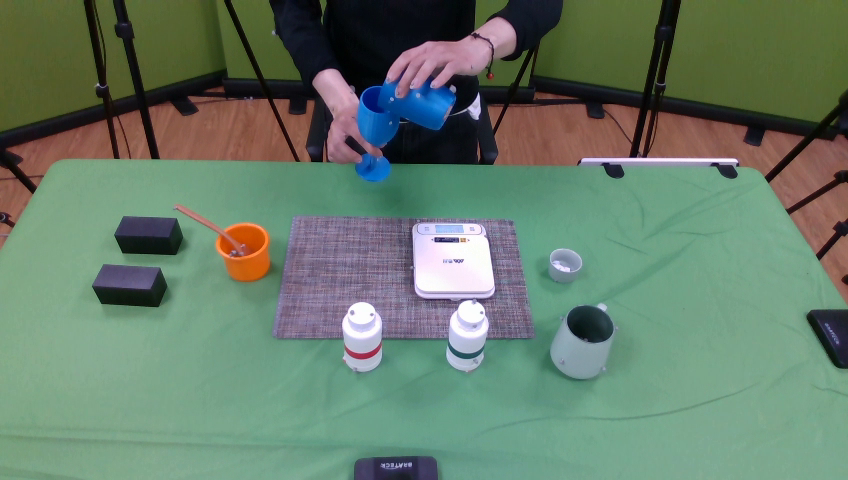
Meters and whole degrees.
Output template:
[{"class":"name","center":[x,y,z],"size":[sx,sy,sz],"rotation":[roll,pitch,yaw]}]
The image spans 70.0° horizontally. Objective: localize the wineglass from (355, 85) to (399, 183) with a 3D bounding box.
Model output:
[{"class":"wineglass","center":[-0.083,-0.178,1.030],"size":[0.074,0.173,0.073],"rotation":[4,57,-7]}]

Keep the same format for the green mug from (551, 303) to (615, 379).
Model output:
[{"class":"green mug","center":[0.271,0.157,1.007],"size":[0.092,0.105,0.125],"rotation":[27,50,21]}]

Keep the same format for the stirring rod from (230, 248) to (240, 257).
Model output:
[{"class":"stirring rod","center":[-0.330,0.023,1.059],"size":[0.014,0.176,0.006],"rotation":[33,79,-12]}]

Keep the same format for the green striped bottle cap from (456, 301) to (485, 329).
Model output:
[{"class":"green striped bottle cap","center":[0.073,0.116,0.943],"size":[0.044,0.020,0.044],"rotation":[3,46,-3]}]

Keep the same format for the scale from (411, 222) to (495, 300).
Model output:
[{"class":"scale","center":[0.052,0.031,1.158],"size":[0.149,0.032,0.199],"rotation":[1,46,-4]}]

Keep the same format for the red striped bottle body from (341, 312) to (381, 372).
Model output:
[{"class":"red striped bottle body","center":[-0.100,0.154,0.972],"size":[0.063,0.120,0.062],"rotation":[2,45,-2]}]

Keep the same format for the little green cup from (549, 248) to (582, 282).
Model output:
[{"class":"little green cup","center":[0.268,0.050,1.156],"size":[0.061,0.039,0.061],"rotation":[2,45,-1]}]

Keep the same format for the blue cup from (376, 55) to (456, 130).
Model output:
[{"class":"blue cup","center":[-0.008,-0.218,0.921],"size":[0.100,0.093,0.092],"rotation":[31,49,3]}]

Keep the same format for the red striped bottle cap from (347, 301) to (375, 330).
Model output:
[{"class":"red striped bottle cap","center":[-0.097,0.116,0.934],"size":[0.044,0.018,0.044],"rotation":[2,49,-3]}]

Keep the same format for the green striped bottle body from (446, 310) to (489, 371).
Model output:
[{"class":"green striped bottle body","center":[0.071,0.155,0.984],"size":[0.063,0.120,0.063],"rotation":[2,46,-2]}]

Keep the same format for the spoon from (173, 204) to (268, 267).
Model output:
[{"class":"spoon","center":[-0.363,-0.009,1.089],"size":[0.021,0.195,0.041],"rotation":[-35,31,23]}]
